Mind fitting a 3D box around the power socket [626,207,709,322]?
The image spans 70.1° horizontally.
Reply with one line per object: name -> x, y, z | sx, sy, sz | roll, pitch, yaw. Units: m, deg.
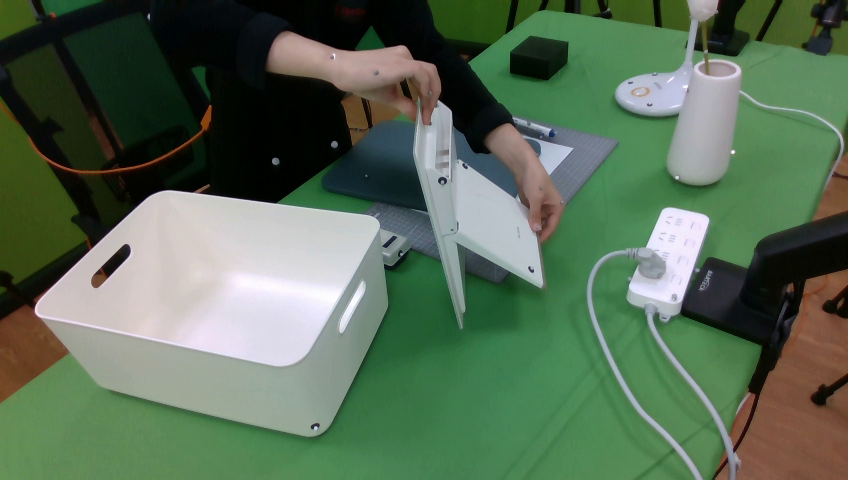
power socket -> 0.360, 0.026, 0.886 | 0.072, 0.033, 0.227 | 17, 46, 27

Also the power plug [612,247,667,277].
power plug -> 0.306, 0.031, 0.852 | 0.072, 0.053, 0.035 | 21, 48, 37

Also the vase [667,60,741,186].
vase -> 0.463, -0.189, 0.995 | 0.098, 0.201, 0.097 | -4, 40, 3

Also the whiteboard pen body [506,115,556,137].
whiteboard pen body -> 0.203, -0.232, 1.213 | 0.139, 0.017, 0.017 | 27, 51, 36

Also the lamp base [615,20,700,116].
lamp base -> 0.484, -0.364, 1.211 | 0.180, 0.181, 0.159 | -15, 41, -14

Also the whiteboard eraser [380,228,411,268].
whiteboard eraser -> -0.081, 0.008, 0.964 | 0.112, 0.042, 0.056 | 19, 49, 27

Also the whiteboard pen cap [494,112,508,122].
whiteboard pen cap -> 0.161, -0.253, 1.248 | 0.033, 0.018, 0.018 | 29, 52, 36

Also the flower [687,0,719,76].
flower -> 0.436, -0.242, 0.934 | 0.038, 0.364, 0.043 | -24, 49, 9

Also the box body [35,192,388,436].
box body -> -0.251, 0.088, 0.800 | 0.362, 0.161, 0.254 | 7, 42, 16

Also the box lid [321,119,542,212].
box lid -> 0.017, -0.141, 1.145 | 0.369, 0.015, 0.263 | 12, 44, 22

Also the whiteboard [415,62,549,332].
whiteboard -> 0.086, -0.059, 0.807 | 0.143, 0.307, 0.216 | -5, 42, 9
